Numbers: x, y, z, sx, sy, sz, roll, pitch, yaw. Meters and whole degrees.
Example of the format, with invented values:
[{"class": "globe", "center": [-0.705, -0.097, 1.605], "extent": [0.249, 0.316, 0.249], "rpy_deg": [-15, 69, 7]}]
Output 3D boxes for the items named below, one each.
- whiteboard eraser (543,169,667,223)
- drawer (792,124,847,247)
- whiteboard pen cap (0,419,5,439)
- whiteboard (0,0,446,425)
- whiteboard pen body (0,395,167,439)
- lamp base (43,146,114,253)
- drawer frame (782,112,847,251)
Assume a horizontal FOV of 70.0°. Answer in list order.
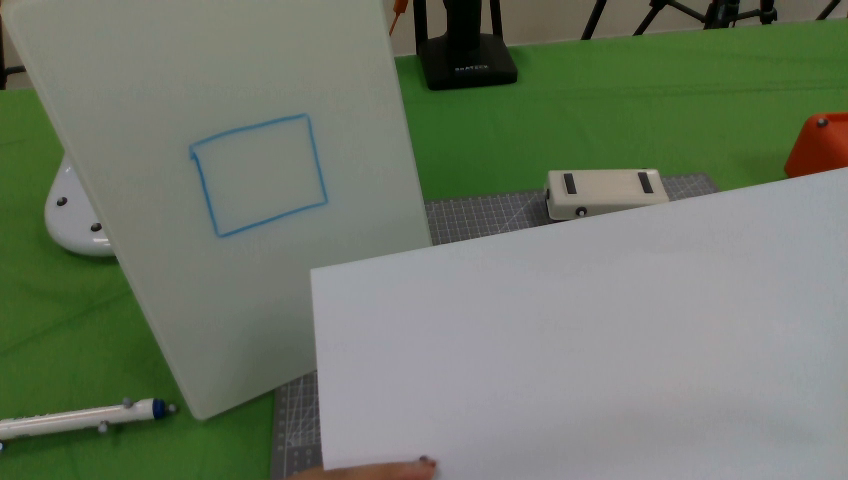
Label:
[{"class": "whiteboard eraser", "center": [0.176, -0.042, 0.600], "extent": [0.113, 0.042, 0.055], "rpy_deg": [-1, 43, 1]}, {"class": "drawer", "center": [0.487, -0.028, 0.553], "extent": [0.194, 0.074, 0.209], "rpy_deg": [-4, 44, -2]}, {"class": "whiteboard pen cap", "center": [-0.325, 0.140, 0.441], "extent": [0.033, 0.018, 0.018], "rpy_deg": [-4, 44, -12]}, {"class": "whiteboard", "center": [-0.132, -0.054, 0.477], "extent": [0.217, 0.308, 0.142], "rpy_deg": [-22, 29, -18]}, {"class": "whiteboard pen body", "center": [-0.266, 0.133, 0.450], "extent": [0.141, 0.017, 0.017], "rpy_deg": [-6, 45, -10]}, {"class": "lamp base", "center": [-0.319, -0.104, 0.580], "extent": [0.178, 0.182, 0.160], "rpy_deg": [23, 50, 26]}, {"class": "drawer frame", "center": [0.486, -0.033, 0.557], "extent": [0.202, 0.083, 0.211], "rpy_deg": [-6, 44, -3]}]
